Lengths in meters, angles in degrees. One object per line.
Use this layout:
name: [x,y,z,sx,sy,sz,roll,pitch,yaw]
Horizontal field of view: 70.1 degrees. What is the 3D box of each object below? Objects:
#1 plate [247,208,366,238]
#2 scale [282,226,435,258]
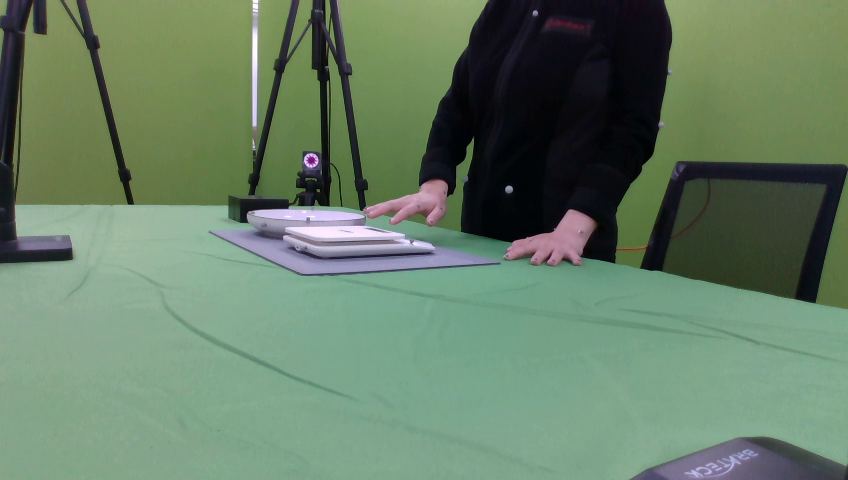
plate: [-0.208,-0.030,1.082,0.209,0.038,0.209,2,7,0]
scale: [-0.098,0.000,0.914,0.202,0.031,0.148,-2,9,-33]
